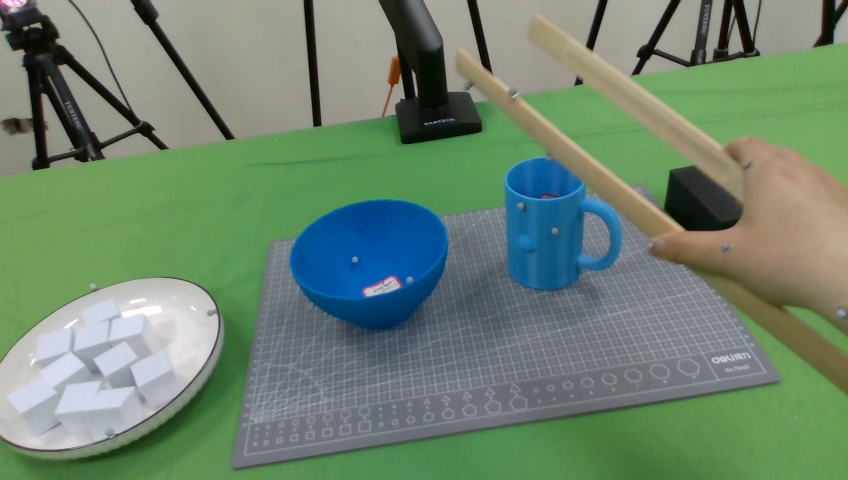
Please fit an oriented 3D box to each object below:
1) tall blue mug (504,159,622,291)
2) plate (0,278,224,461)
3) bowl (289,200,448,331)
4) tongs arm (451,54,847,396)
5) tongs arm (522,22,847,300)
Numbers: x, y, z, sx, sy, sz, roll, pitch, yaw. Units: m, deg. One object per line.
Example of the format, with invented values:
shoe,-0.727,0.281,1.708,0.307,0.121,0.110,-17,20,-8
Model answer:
tall blue mug,0.134,-0.014,0.594,0.107,0.109,0.077,-1,38,9
plate,-0.287,0.117,0.564,0.209,0.038,0.207,-4,38,4
bowl,-0.048,0.035,0.589,0.151,0.077,0.150,-5,38,4
tongs arm,0.150,-0.030,0.408,0.051,0.027,0.381,-28,57,-21
tongs arm,0.186,-0.050,0.423,0.028,0.028,0.383,-24,55,-22
